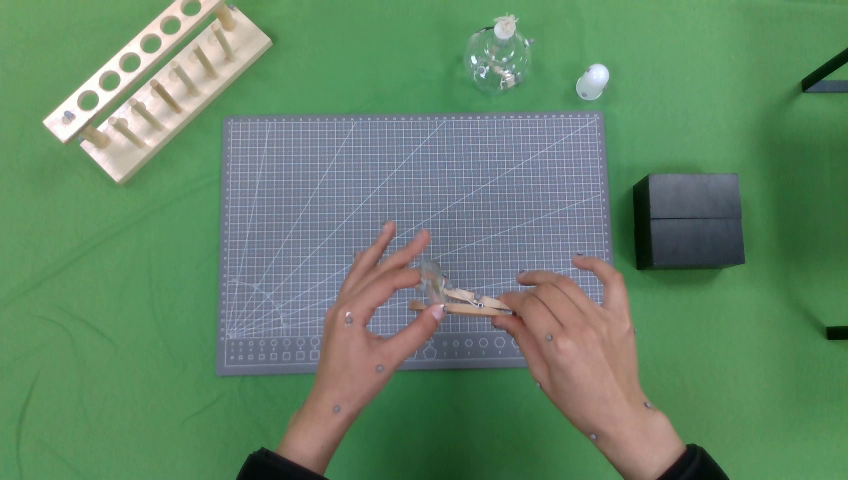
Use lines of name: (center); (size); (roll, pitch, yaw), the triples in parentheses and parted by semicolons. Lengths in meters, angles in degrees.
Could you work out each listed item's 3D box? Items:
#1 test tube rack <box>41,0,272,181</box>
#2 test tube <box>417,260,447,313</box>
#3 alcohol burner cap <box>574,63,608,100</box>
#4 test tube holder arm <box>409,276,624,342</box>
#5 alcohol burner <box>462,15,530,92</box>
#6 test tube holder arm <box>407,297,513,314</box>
test tube rack: (-0.289, -0.182, 0.677); (0.066, 0.085, 0.242); (44, 83, 6)
test tube: (0.008, 0.040, 0.480); (0.017, 0.151, 0.017); (-1, 75, 4)
alcohol burner cap: (0.198, -0.188, 0.712); (0.034, 0.048, 0.033); (0, 80, -1)
test tube holder arm: (0.074, 0.056, 0.497); (0.178, 0.015, 0.013); (13, 84, 7)
alcohol burner: (0.083, -0.215, 0.677); (0.078, 0.119, 0.077); (0, 80, -2)
test tube holder arm: (0.030, 0.055, 0.502); (0.088, 0.015, 0.010); (2, 82, 6)
